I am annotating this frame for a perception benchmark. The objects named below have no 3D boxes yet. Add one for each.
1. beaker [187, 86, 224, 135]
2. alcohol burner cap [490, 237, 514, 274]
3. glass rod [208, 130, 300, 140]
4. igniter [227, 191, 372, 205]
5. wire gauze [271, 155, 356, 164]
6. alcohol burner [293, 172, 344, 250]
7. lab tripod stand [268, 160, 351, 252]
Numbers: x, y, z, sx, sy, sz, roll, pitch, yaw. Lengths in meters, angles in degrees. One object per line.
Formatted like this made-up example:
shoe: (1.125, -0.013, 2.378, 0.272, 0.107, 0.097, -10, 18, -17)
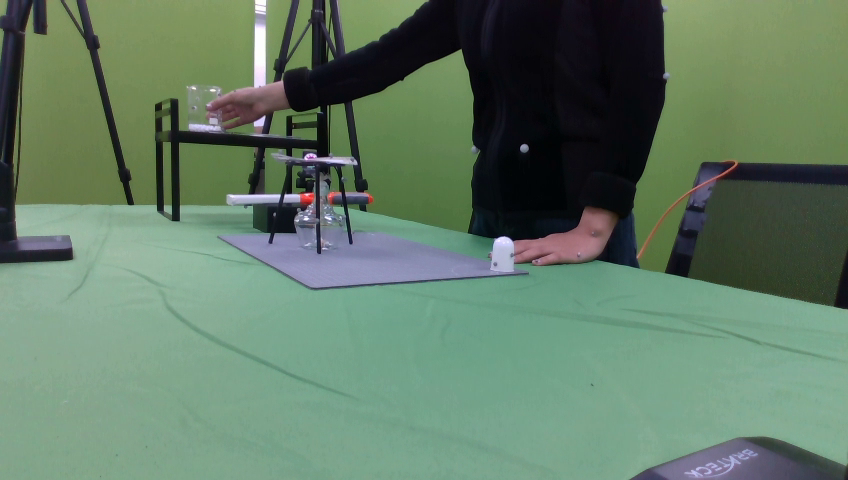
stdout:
beaker: (-0.475, -0.280, 1.310, 0.073, 0.100, 0.084, 6, 9, 27)
alcohol burner cap: (0.104, 0.020, 0.793, 0.034, 0.048, 0.034, 2, 7, 0)
glass rod: (-0.367, -0.230, 1.322, 0.201, 0.008, 0.008, -1, 8, -31)
igniter: (-0.232, -0.080, 1.161, 0.278, 0.025, 0.057, -3, 12, -28)
wire gauze: (-0.167, -0.122, 0.917, 0.125, 0.011, 0.121, 0, 7, -8)
alcohol burner: (-0.159, -0.044, 0.921, 0.078, 0.119, 0.078, 5, 7, 0)
lab tripod stand: (-0.171, -0.055, 0.922, 0.148, 0.131, 0.148, 1, 8, 0)
